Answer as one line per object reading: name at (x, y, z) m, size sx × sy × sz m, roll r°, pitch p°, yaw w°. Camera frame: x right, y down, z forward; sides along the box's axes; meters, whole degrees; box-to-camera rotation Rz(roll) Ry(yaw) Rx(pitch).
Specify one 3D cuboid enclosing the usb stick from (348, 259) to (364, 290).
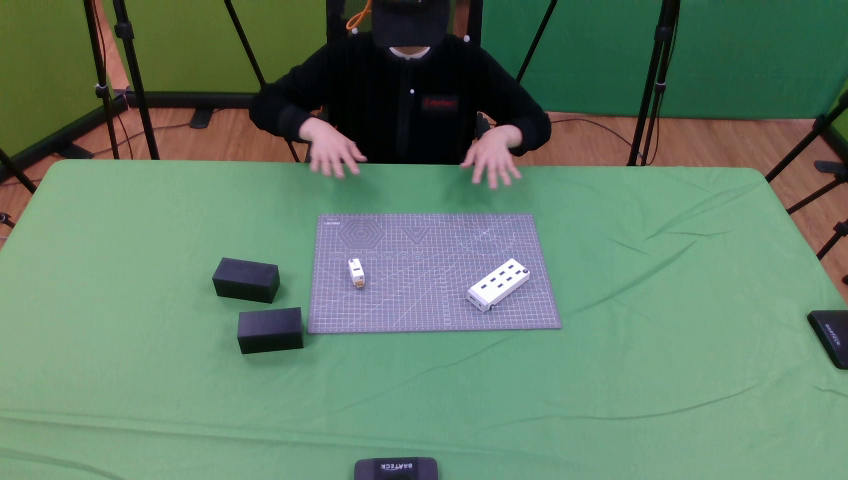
usb stick at (-0.124, 0.064, 1.120) m, size 0.021 × 0.027 × 0.059 m, roll -9°, pitch 50°, yaw -17°

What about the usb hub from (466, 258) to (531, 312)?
usb hub at (0.139, 0.083, 1.121) m, size 0.125 × 0.025 × 0.049 m, roll -32°, pitch 56°, yaw -29°
